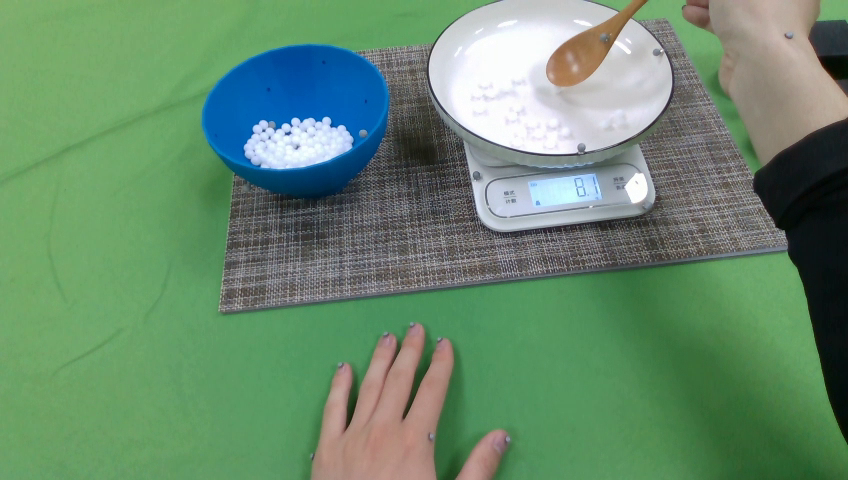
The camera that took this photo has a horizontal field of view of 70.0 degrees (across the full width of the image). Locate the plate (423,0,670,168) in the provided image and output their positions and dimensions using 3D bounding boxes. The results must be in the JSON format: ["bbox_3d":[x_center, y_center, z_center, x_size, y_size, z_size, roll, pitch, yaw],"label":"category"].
[{"bbox_3d":[0.103,-0.137,0.528,0.209,0.038,0.207,-1,55,2],"label":"plate"}]

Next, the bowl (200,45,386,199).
[{"bbox_3d":[-0.103,-0.088,0.517,0.151,0.077,0.150,-2,55,3],"label":"bowl"}]

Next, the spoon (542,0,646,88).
[{"bbox_3d":[0.167,-0.184,0.465,0.022,0.194,0.041,0,63,-41],"label":"spoon"}]

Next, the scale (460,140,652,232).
[{"bbox_3d":[0.106,-0.099,0.542,0.149,0.032,0.199,-7,55,-1],"label":"scale"}]
